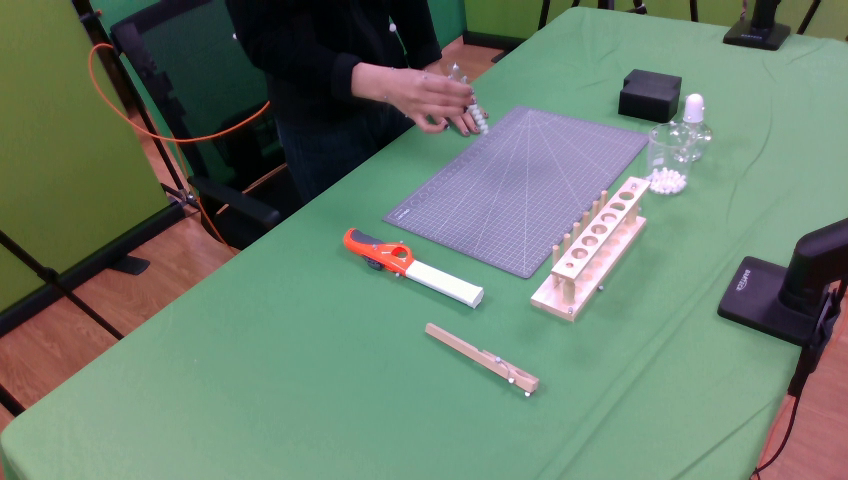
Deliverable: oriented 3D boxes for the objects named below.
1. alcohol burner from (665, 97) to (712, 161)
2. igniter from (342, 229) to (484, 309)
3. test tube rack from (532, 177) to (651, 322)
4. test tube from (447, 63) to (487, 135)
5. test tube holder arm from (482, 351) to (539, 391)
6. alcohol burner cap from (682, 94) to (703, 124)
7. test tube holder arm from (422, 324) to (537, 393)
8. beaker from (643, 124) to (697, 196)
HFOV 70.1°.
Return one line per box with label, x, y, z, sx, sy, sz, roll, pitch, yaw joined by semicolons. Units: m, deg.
alcohol burner;0.465;-0.198;1.057;0.078;0.119;0.077;-4;41;4
igniter;-0.027;0.039;0.936;0.274;0.025;0.057;23;59;32
test tube rack;0.247;0.002;0.883;0.066;0.085;0.243;22;49;32
test tube;0.073;-0.228;0.990;0.017;0.151;0.017;-16;48;19
test tube holder arm;0.106;0.166;0.769;0.087;0.015;0.010;24;15;34
alcohol burner cap;0.460;-0.225;1.033;0.034;0.048;0.033;-8;34;6
test tube holder arm;0.068;0.152;0.789;0.177;0.015;0.013;23;15;32
beaker;0.407;-0.132;1.001;0.084;0.101;0.073;-20;42;-13
